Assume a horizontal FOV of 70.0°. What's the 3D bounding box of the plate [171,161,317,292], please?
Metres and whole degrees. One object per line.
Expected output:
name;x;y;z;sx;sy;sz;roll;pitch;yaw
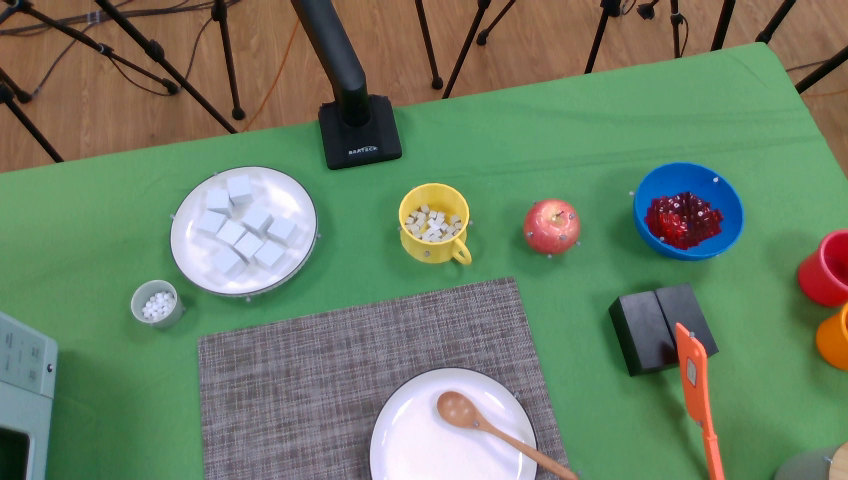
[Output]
plate;-0.258;-0.018;0.885;0.208;0.039;0.206;0;66;0

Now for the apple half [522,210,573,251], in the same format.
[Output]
apple half;0.168;-0.004;0.861;0.081;0.082;0.032;28;65;12

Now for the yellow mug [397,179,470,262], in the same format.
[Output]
yellow mug;0.021;-0.018;0.872;0.100;0.064;0.130;-38;72;-16

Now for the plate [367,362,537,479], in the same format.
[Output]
plate;0.034;0.259;0.757;0.209;0.038;0.207;0;66;0

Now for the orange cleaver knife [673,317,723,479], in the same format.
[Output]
orange cleaver knife;0.342;0.202;0.760;0.012;0.077;0.212;-14;99;-2

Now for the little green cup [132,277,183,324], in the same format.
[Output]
little green cup;-0.364;0.086;0.834;0.061;0.039;0.061;1;66;-1

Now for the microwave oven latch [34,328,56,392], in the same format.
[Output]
microwave oven latch;-0.498;0.156;0.783;0.030;0.030;0.078;-7;66;-4

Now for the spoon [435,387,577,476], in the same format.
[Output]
spoon;0.099;0.240;0.751;0.192;0.022;0.041;25;61;23

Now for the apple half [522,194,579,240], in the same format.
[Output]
apple half;0.188;-0.034;0.876;0.080;0.075;0.053;27;65;15

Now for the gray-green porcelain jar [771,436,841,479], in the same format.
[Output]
gray-green porcelain jar;0.480;0.287;0.703;0.106;0.127;0.105;0;65;0

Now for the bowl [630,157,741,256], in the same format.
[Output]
bowl;0.365;-0.036;0.875;0.151;0.077;0.150;0;66;0

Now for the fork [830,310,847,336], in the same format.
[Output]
fork;0.572;0.144;0.755;0.028;0.019;0.206;6;22;1

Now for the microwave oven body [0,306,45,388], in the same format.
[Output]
microwave oven body;-0.619;0.293;0.613;0.326;0.262;0.438;-7;66;-4

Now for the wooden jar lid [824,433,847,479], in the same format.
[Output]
wooden jar lid;0.479;0.260;0.647;0.108;0.021;0.107;1;68;-1

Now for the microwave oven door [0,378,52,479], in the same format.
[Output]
microwave oven door;-0.468;0.310;0.601;0.039;0.245;0.352;-8;66;-4
